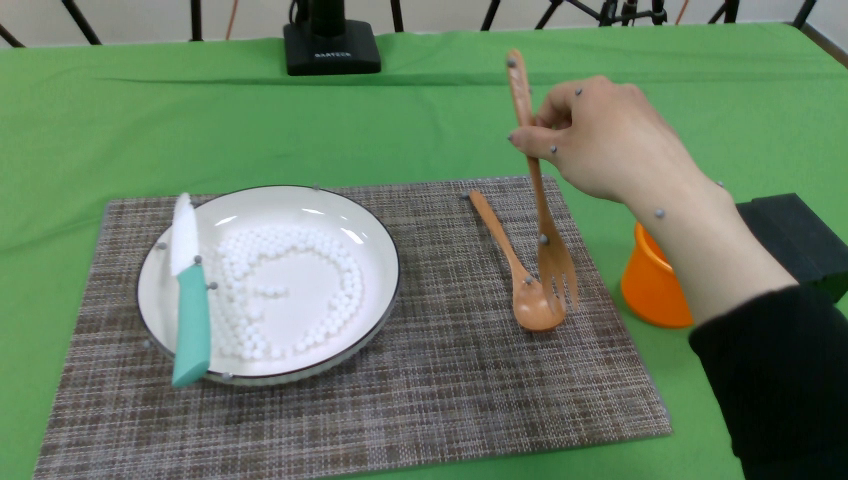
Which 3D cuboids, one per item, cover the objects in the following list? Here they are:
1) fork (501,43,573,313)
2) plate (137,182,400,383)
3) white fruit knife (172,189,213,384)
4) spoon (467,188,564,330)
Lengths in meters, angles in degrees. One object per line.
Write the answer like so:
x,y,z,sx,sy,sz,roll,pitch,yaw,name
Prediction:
0.084,-0.043,0.459,0.028,0.208,0.018,-9,13,20,fork
-0.124,0.032,0.507,0.209,0.038,0.207,3,46,-3,plate
-0.185,0.024,0.479,0.027,0.016,0.205,-13,48,-12,white fruit knife
0.076,0.009,0.559,0.041,0.022,0.191,-21,49,0,spoon
